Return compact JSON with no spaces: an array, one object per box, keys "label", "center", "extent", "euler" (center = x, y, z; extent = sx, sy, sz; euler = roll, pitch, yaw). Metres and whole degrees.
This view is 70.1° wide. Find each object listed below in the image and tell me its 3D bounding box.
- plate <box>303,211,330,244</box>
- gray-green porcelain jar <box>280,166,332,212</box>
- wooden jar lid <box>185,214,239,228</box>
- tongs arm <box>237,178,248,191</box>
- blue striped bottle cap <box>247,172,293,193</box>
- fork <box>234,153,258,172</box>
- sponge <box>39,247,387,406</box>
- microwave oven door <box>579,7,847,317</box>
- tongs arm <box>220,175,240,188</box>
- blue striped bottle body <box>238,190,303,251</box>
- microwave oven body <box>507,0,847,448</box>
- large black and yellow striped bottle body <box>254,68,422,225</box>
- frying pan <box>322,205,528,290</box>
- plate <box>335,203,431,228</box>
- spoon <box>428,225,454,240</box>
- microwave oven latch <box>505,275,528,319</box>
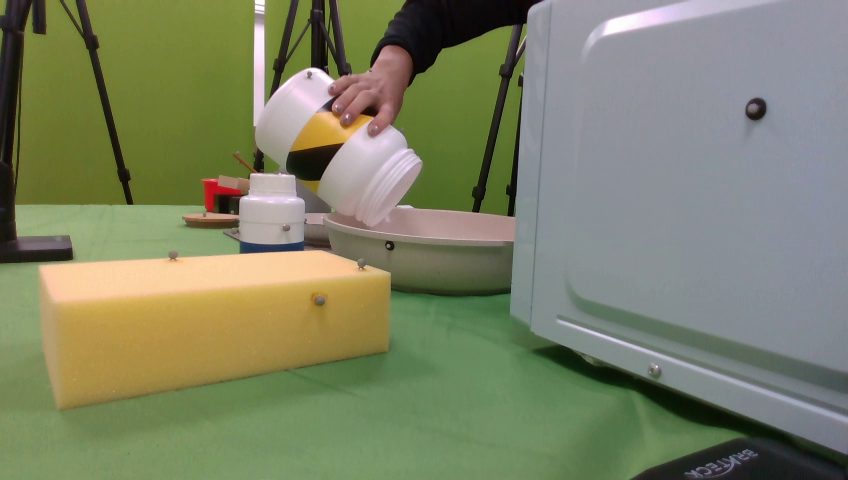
[{"label":"plate","center":[-0.139,-0.022,1.021],"extent":[0.209,0.038,0.209],"euler":[2,8,0]},{"label":"gray-green porcelain jar","center":[-0.238,-0.092,1.221],"extent":[0.106,0.126,0.106],"euler":[2,7,0]},{"label":"wooden jar lid","center":[-0.404,-0.037,1.169],"extent":[0.108,0.020,0.108],"euler":[3,7,0]},{"label":"tongs arm","center":[-0.241,-0.095,1.374],"extent":[0.387,0.026,0.050],"euler":[9,1,-37]},{"label":"blue striped bottle cap","center":[-0.152,-0.057,0.598],"extent":[0.044,0.020,0.044],"euler":[3,7,0]},{"label":"fork","center":[-0.396,-0.143,1.486],"extent":[0.028,0.018,0.208],"euler":[19,-26,44]},{"label":"sponge","center":[-0.142,0.047,0.420],"extent":[0.208,0.061,0.117],"euler":[-3,9,-37]},{"label":"microwave oven door","center":[0.294,-0.067,0.570],"extent":[0.358,0.243,0.039],"euler":[-3,9,-31]},{"label":"tongs arm","center":[-0.284,-0.106,1.445],"extent":[0.389,0.027,0.028],"euler":[10,-3,-23]},{"label":"blue striped bottle body","center":[-0.153,-0.007,0.605],"extent":[0.063,0.120,0.063],"euler":[2,7,0]},{"label":"microwave oven body","center":[0.331,-0.042,0.425],"extent":[0.444,0.260,0.324],"euler":[-2,8,-31]},{"label":"large black and yellow striped bottle body","center":[-0.106,-0.117,0.775],"extent":[0.184,0.130,0.131],"euler":[38,12,4]},{"label":"frying pan","center":[0.109,-0.017,0.800],"extent":[0.490,0.102,0.305],"euler":[-12,16,-30]},{"label":"plate","center":[-0.089,-0.053,1.309],"extent":[0.208,0.039,0.207],"euler":[2,8,0]},{"label":"spoon","center":[0.024,-0.019,1.124],"extent":[0.042,0.021,0.193],"euler":[-17,10,-4]},{"label":"microwave oven latch","center":[0.100,0.042,0.471],"extent":[0.079,0.029,0.030],"euler":[-1,7,-29]}]
